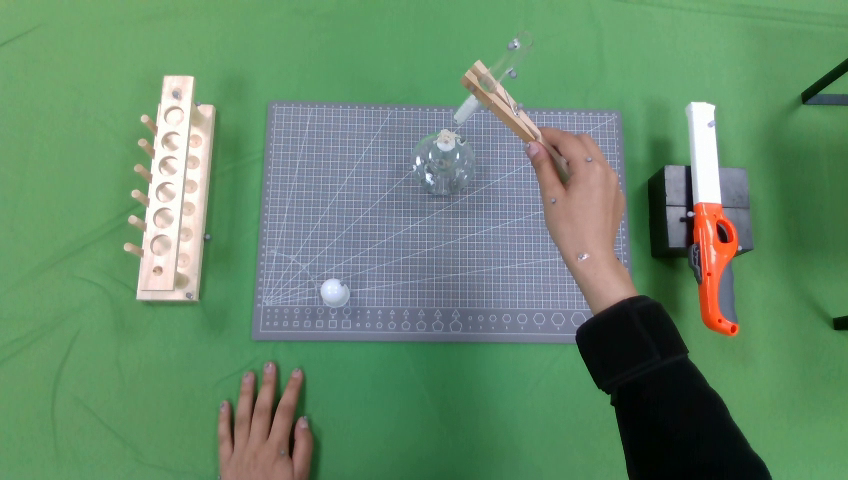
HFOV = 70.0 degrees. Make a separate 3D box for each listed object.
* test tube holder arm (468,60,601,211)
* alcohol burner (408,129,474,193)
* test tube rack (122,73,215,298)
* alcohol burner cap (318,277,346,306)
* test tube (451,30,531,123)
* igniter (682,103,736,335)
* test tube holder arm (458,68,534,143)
[{"bbox_3d":[0.103,-0.095,0.563,0.179,0.015,0.013,46,71,-7],"label":"test tube holder arm"},{"bbox_3d":[0.020,-0.097,0.698,0.078,0.119,0.077,0,78,-1],"label":"alcohol burner"},{"bbox_3d":[-0.294,-0.060,0.689,0.067,0.085,0.241,1,77,-2],"label":"test tube rack"},{"bbox_3d":[-0.107,0.057,0.693,0.034,0.048,0.033,1,78,-4],"label":"alcohol burner cap"},{"bbox_3d":[0.056,-0.142,0.548,0.017,0.150,0.017,5,74,-17],"label":"test tube"},{"bbox_3d":[0.325,-0.029,0.697,0.057,0.025,0.275,3,74,-5],"label":"igniter"},{"bbox_3d":[0.068,-0.122,0.555,0.088,0.015,0.010,40,72,-9],"label":"test tube holder arm"}]
